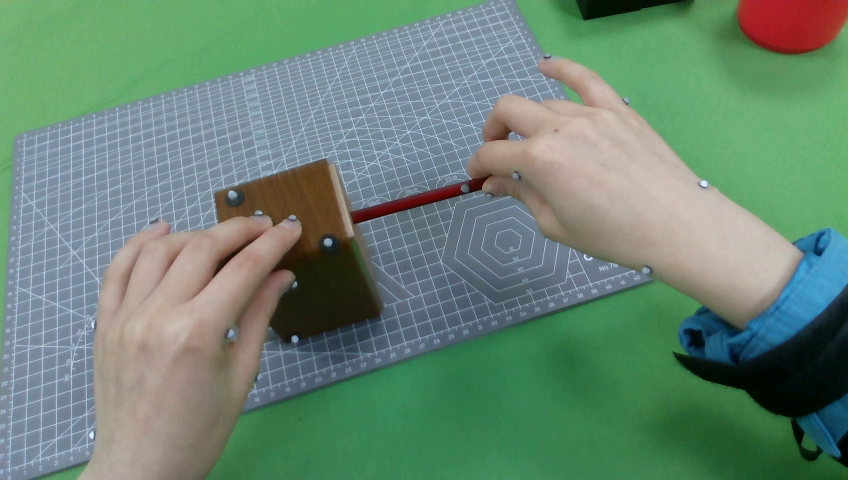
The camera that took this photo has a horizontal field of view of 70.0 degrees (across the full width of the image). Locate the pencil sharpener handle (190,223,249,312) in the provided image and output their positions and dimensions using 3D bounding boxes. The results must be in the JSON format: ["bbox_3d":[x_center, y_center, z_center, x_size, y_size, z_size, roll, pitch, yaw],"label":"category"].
[{"bbox_3d":[-0.126,0.021,0.358,0.030,0.068,0.035,-17,54,-3],"label":"pencil sharpener handle"}]

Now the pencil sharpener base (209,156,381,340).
[{"bbox_3d":[-0.076,0.010,0.373,0.077,0.108,0.061,-17,61,-3],"label":"pencil sharpener base"}]

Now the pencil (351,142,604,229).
[{"bbox_3d":[0.013,-0.026,0.354,0.194,0.012,0.012,-16,60,-3],"label":"pencil"}]
